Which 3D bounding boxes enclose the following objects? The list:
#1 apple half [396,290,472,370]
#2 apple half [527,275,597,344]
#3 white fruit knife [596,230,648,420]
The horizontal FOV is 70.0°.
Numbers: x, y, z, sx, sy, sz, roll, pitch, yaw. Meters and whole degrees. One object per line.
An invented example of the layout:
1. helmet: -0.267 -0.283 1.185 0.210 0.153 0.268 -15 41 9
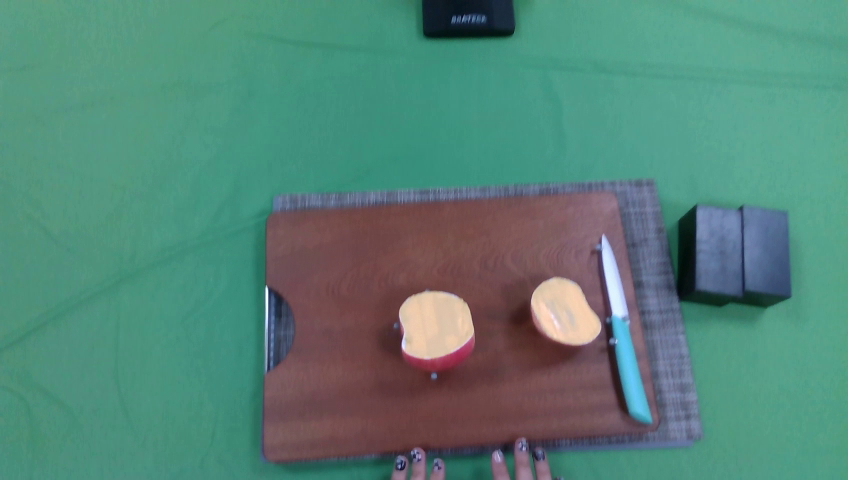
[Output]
1. apple half: 0.011 0.096 0.613 0.075 0.054 0.080 -13 49 -2
2. apple half: 0.136 0.078 0.630 0.082 0.033 0.080 12 54 -17
3. white fruit knife: 0.205 0.085 0.643 0.027 0.016 0.206 6 67 -30
